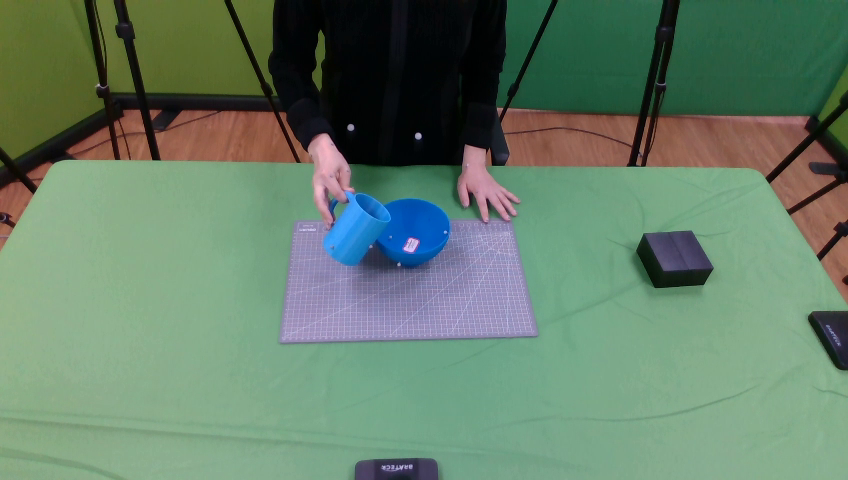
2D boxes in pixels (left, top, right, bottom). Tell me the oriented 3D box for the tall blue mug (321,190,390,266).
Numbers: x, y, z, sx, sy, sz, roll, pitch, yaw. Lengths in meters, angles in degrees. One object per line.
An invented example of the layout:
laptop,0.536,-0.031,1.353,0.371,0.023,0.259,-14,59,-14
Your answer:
tall blue mug,-0.133,-0.028,1.059,0.107,0.108,0.077,37,23,-3

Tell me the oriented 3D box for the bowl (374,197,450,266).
bowl,-0.028,-0.003,1.156,0.151,0.077,0.150,2,46,-2
